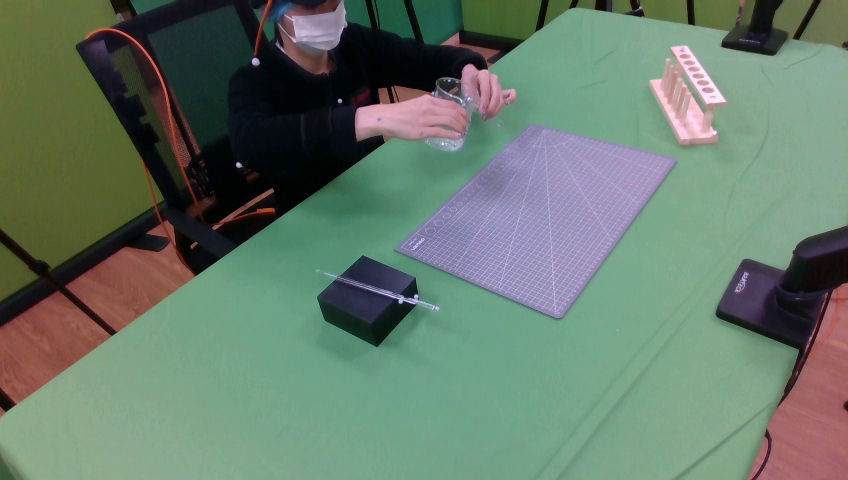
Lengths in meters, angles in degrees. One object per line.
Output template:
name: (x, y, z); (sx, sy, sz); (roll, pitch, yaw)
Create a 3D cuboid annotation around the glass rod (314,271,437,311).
glass rod: (-0.071, 0.069, 0.837); (0.198, 0.008, 0.008); (14, 44, 24)

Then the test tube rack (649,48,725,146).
test tube rack: (0.508, -0.285, 1.186); (0.067, 0.085, 0.241); (-4, 40, 6)

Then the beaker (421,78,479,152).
beaker: (0.042, -0.199, 0.985); (0.073, 0.084, 0.100); (12, 81, 29)

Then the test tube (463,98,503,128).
test tube: (0.109, -0.226, 1.088); (0.017, 0.017, 0.151); (20, 5, 30)
